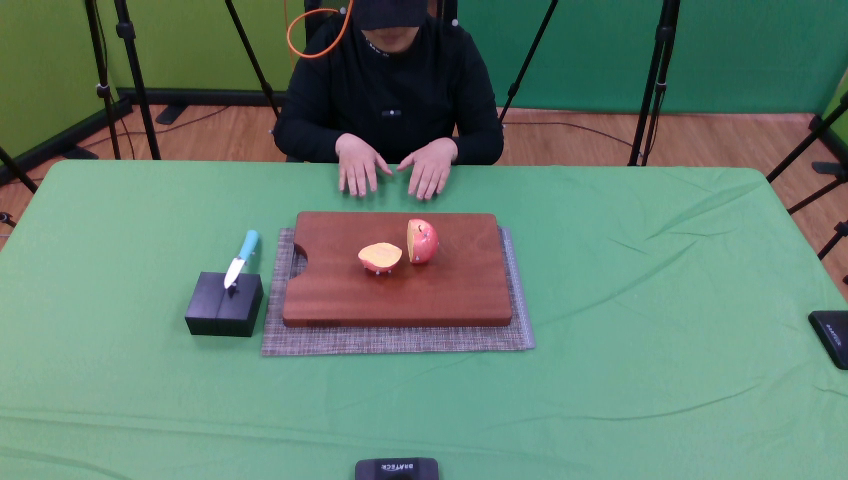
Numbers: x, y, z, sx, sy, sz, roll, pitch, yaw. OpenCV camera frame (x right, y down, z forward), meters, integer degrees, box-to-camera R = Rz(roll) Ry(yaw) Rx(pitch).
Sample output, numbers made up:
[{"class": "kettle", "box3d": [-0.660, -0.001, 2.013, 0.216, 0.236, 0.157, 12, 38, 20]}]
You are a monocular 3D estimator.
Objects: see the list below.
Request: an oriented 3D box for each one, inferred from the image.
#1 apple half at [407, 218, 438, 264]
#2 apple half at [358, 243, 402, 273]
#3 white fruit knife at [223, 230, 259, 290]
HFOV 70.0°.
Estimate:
[{"class": "apple half", "box3d": [-0.001, 0.003, 1.120, 0.053, 0.075, 0.080, -1, 42, -10]}, {"class": "apple half", "box3d": [-0.078, 0.038, 1.109, 0.081, 0.033, 0.081, 1, 30, 0]}, {"class": "white fruit knife", "box3d": [-0.333, 0.034, 1.106, 0.027, 0.016, 0.206, 1, 29, -2]}]
